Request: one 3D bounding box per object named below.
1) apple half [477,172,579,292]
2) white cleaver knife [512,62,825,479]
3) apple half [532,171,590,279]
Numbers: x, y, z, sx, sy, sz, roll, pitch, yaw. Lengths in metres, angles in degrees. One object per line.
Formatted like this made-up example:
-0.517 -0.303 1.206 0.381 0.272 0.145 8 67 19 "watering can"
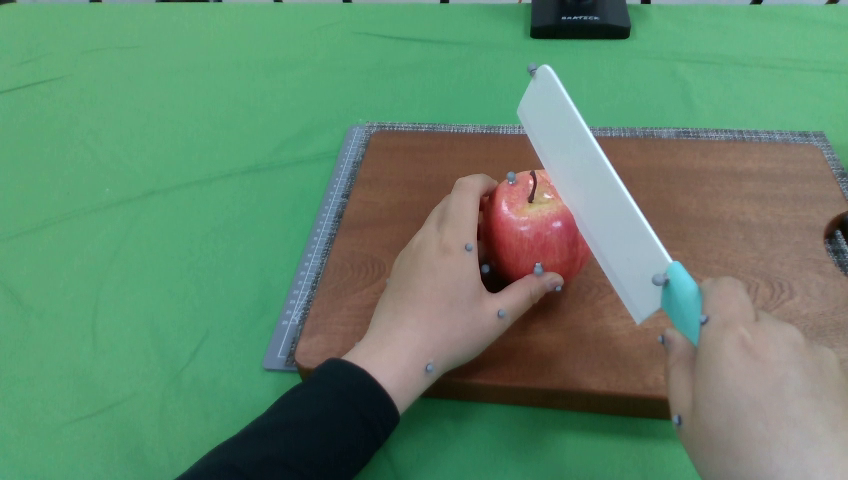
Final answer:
0.065 0.000 0.419 0.053 0.075 0.080 -21 51 -10 "apple half"
0.121 0.016 0.339 0.021 0.066 0.284 -18 65 -14 "white cleaver knife"
0.101 -0.013 0.428 0.033 0.082 0.080 -21 47 -10 "apple half"
